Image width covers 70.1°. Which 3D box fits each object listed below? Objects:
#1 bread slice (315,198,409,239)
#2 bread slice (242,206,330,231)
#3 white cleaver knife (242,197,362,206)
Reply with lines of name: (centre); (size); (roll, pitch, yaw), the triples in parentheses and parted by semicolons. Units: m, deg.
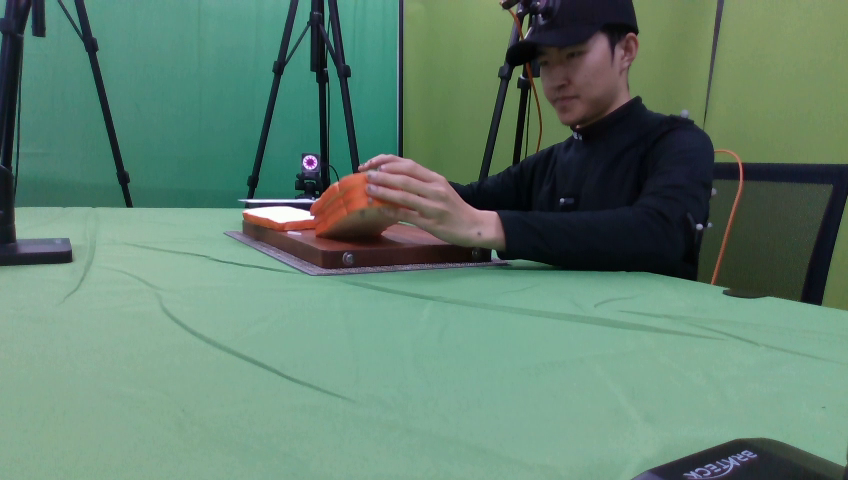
bread slice: (-0.085, -0.030, 0.851); (0.107, 0.018, 0.134); (-5, -14, -29)
bread slice: (-0.233, -0.036, 1.001); (0.131, 0.019, 0.105); (13, 16, 40)
white cleaver knife: (-0.256, -0.086, 1.295); (0.288, 0.021, 0.065); (-2, 8, -41)
